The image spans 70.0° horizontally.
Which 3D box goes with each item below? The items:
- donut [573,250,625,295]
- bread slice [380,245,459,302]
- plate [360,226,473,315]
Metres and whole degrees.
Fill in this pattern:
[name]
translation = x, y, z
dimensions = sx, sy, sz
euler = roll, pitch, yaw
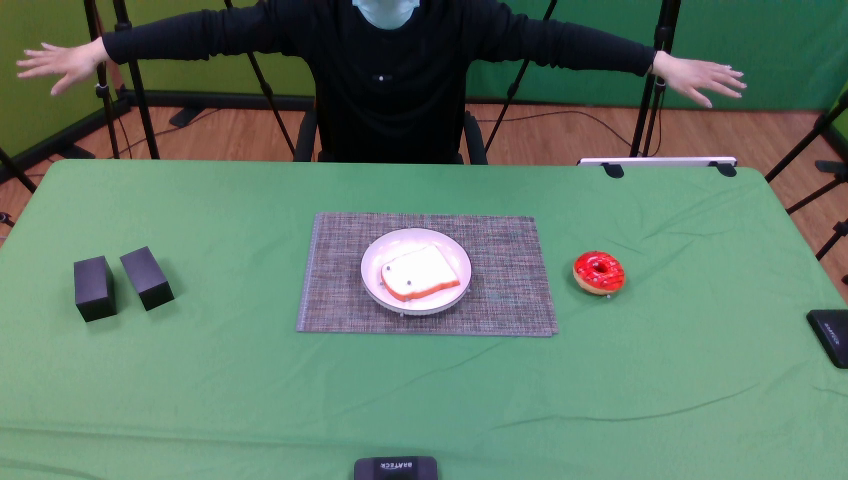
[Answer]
[donut]
translation = 0.332, 0.062, 1.149
dimensions = 0.099, 0.048, 0.098
euler = 4, 45, -4
[bread slice]
translation = -0.014, 0.064, 1.122
dimensions = 0.132, 0.019, 0.104
euler = -18, 49, -21
[plate]
translation = -0.013, 0.059, 1.124
dimensions = 0.208, 0.039, 0.206
euler = 2, 46, -2
